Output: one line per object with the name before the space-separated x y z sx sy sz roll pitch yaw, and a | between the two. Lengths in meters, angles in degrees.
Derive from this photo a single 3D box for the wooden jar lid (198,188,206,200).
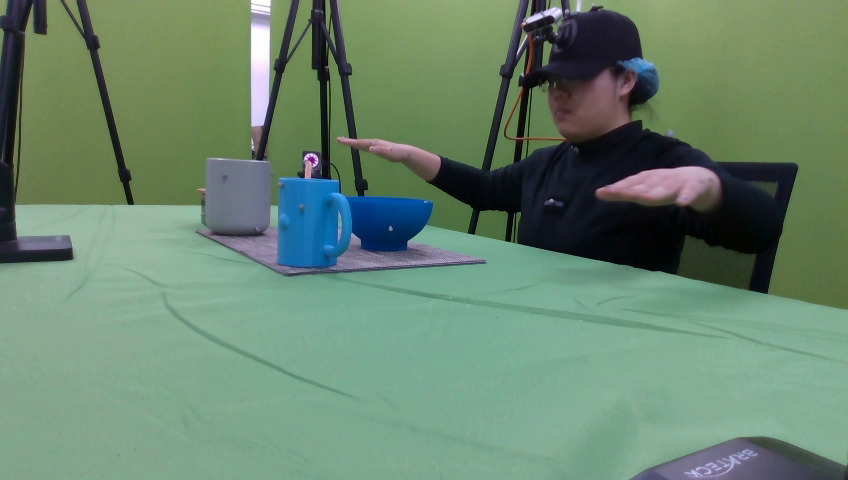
wooden jar lid | -0.382 -0.088 1.175 0.108 0.020 0.108 3 8 0

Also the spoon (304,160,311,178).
spoon | -0.242 -0.103 1.251 0.042 0.021 0.193 0 51 -6

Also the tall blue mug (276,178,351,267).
tall blue mug | -0.133 -0.023 0.767 0.107 0.108 0.078 4 7 12

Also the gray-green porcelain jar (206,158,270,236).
gray-green porcelain jar | -0.317 -0.074 1.031 0.106 0.126 0.106 3 7 0

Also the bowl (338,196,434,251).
bowl | -0.061 -0.026 0.943 0.151 0.077 0.151 2 7 0
